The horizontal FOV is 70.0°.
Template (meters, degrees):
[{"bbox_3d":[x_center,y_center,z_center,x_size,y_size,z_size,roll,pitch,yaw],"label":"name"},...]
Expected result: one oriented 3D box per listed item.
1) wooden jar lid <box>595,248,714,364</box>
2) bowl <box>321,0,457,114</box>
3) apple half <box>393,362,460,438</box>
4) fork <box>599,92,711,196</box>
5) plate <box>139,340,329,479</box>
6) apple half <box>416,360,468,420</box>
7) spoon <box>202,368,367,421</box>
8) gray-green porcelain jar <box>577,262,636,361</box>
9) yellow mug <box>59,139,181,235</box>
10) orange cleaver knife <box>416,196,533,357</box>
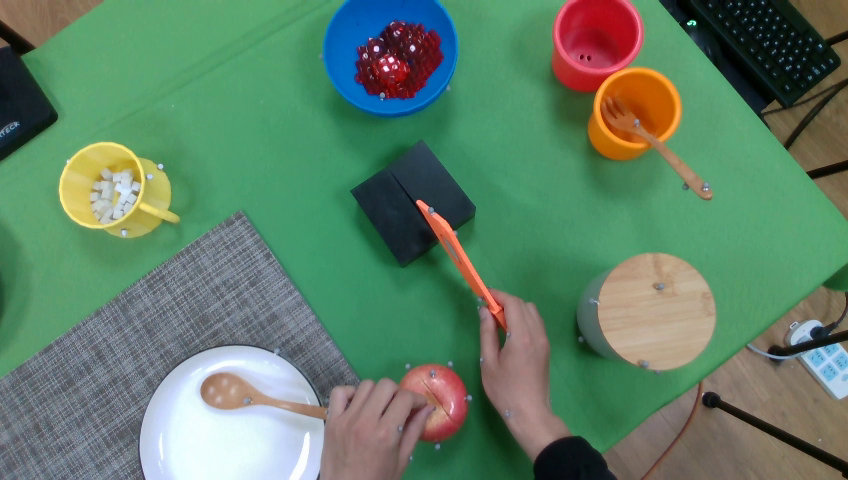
[{"bbox_3d":[0.214,0.062,0.567,0.108,0.021,0.108,0,84,1],"label":"wooden jar lid"},{"bbox_3d":[-0.036,-0.209,0.700,0.151,0.077,0.151,0,83,3],"label":"bowl"},{"bbox_3d":[-0.004,0.178,0.653,0.053,0.075,0.080,-38,85,-1],"label":"apple half"},{"bbox_3d":[0.239,-0.105,0.637,0.028,0.019,0.205,-20,39,0],"label":"fork"},{"bbox_3d":[-0.206,0.215,0.672,0.209,0.038,0.208,0,83,3],"label":"plate"},{"bbox_3d":[0.027,0.154,0.653,0.033,0.081,0.081,-40,82,1],"label":"apple half"},{"bbox_3d":[-0.154,0.175,0.661,0.193,0.022,0.041,8,72,16],"label":"spoon"},{"bbox_3d":[0.218,0.071,0.628,0.106,0.127,0.105,0,82,4],"label":"gray-green porcelain jar"},{"bbox_3d":[-0.342,-0.053,0.703,0.130,0.064,0.100,25,84,5],"label":"yellow mug"},{"bbox_3d":[0.054,0.041,0.648,0.012,0.076,0.213,-37,113,-8],"label":"orange cleaver knife"}]
